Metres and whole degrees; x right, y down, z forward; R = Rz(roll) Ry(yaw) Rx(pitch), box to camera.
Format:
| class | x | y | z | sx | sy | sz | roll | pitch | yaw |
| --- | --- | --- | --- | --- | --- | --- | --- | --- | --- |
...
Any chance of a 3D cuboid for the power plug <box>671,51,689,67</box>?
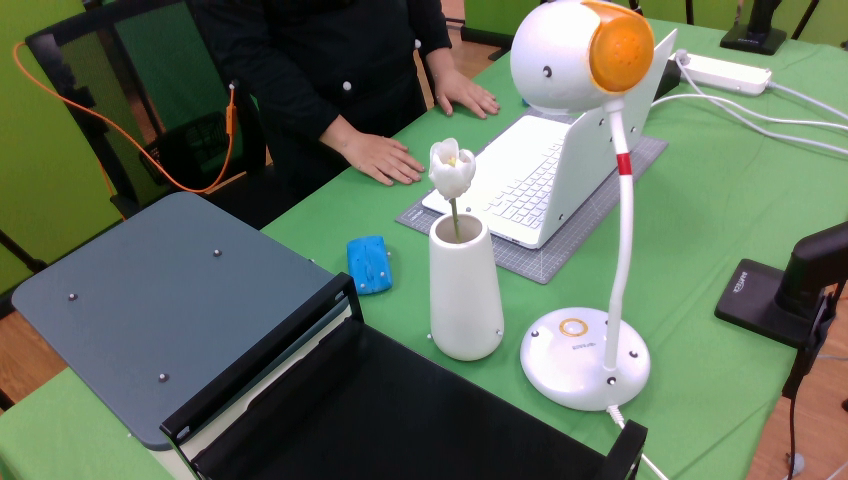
| class | x | y | z | sx | sy | sz | roll | pitch | yaw |
| --- | --- | --- | --- | --- | --- | --- | --- | --- | --- |
| power plug | 0.541 | -0.378 | 1.301 | 0.073 | 0.053 | 0.035 | -33 | 46 | -24 |

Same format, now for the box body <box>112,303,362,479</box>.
| class | x | y | z | sx | sy | sz | roll | pitch | yaw |
| --- | --- | --- | --- | --- | --- | --- | --- | --- | --- |
| box body | -0.285 | 0.123 | 0.766 | 0.361 | 0.161 | 0.255 | 25 | 49 | 33 |

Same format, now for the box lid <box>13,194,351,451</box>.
| class | x | y | z | sx | sy | sz | roll | pitch | yaw |
| --- | --- | --- | --- | --- | --- | --- | --- | --- | --- |
| box lid | -0.292 | 0.067 | 0.717 | 0.368 | 0.015 | 0.264 | 25 | 50 | 33 |

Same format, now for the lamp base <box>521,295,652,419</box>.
| class | x | y | z | sx | sy | sz | roll | pitch | yaw |
| --- | --- | --- | --- | --- | --- | --- | --- | --- | --- |
| lamp base | 0.200 | 0.095 | 0.710 | 0.161 | 0.181 | 0.177 | -16 | 43 | -10 |

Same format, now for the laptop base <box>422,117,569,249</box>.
| class | x | y | z | sx | sy | sz | roll | pitch | yaw |
| --- | --- | --- | --- | --- | --- | --- | --- | --- | --- |
| laptop base | 0.192 | -0.116 | 1.087 | 0.233 | 0.023 | 0.355 | 21 | 48 | 34 |

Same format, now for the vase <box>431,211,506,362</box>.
| class | x | y | z | sx | sy | sz | roll | pitch | yaw |
| --- | --- | --- | --- | --- | --- | --- | --- | --- | --- |
| vase | 0.054 | 0.062 | 0.757 | 0.098 | 0.201 | 0.097 | -3 | 40 | 3 |

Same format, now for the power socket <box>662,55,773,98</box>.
| class | x | y | z | sx | sy | sz | roll | pitch | yaw |
| --- | --- | --- | --- | --- | --- | --- | --- | --- | --- |
| power socket | 0.619 | -0.352 | 1.289 | 0.225 | 0.033 | 0.072 | 26 | 51 | 33 |

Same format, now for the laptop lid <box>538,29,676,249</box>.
| class | x | y | z | sx | sy | sz | roll | pitch | yaw |
| --- | --- | --- | --- | --- | --- | --- | --- | --- | --- |
| laptop lid | 0.288 | -0.159 | 0.939 | 0.013 | 0.242 | 0.358 | 31 | 51 | 24 |

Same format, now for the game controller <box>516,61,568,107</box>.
| class | x | y | z | sx | sy | sz | roll | pitch | yaw |
| --- | --- | --- | --- | --- | --- | --- | --- | --- | --- |
| game controller | 0.259 | -0.352 | 1.336 | 0.097 | 0.052 | 0.154 | -3 | 41 | 2 |

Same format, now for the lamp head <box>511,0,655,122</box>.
| class | x | y | z | sx | sy | sz | roll | pitch | yaw |
| --- | --- | --- | --- | --- | --- | --- | --- | --- | --- |
| lamp head | 0.155 | -0.168 | 0.564 | 0.113 | 0.113 | 0.122 | -18 | 23 | -12 |

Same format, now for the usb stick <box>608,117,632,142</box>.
| class | x | y | z | sx | sy | sz | roll | pitch | yaw |
| --- | --- | --- | --- | --- | --- | --- | --- | --- | --- |
| usb stick | 0.370 | -0.207 | 1.147 | 0.021 | 0.027 | 0.059 | 27 | 55 | 32 |

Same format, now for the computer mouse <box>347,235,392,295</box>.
| class | x | y | z | sx | sy | sz | roll | pitch | yaw |
| --- | --- | --- | --- | --- | --- | --- | --- | --- | --- |
| computer mouse | -0.086 | 0.034 | 0.936 | 0.063 | 0.041 | 0.116 | -8 | 45 | -5 |

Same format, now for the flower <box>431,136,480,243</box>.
| class | x | y | z | sx | sy | sz | roll | pitch | yaw |
| --- | --- | --- | --- | --- | --- | --- | --- | --- | --- |
| flower | 0.041 | 0.011 | 0.691 | 0.044 | 0.363 | 0.038 | 16 | 62 | 14 |
